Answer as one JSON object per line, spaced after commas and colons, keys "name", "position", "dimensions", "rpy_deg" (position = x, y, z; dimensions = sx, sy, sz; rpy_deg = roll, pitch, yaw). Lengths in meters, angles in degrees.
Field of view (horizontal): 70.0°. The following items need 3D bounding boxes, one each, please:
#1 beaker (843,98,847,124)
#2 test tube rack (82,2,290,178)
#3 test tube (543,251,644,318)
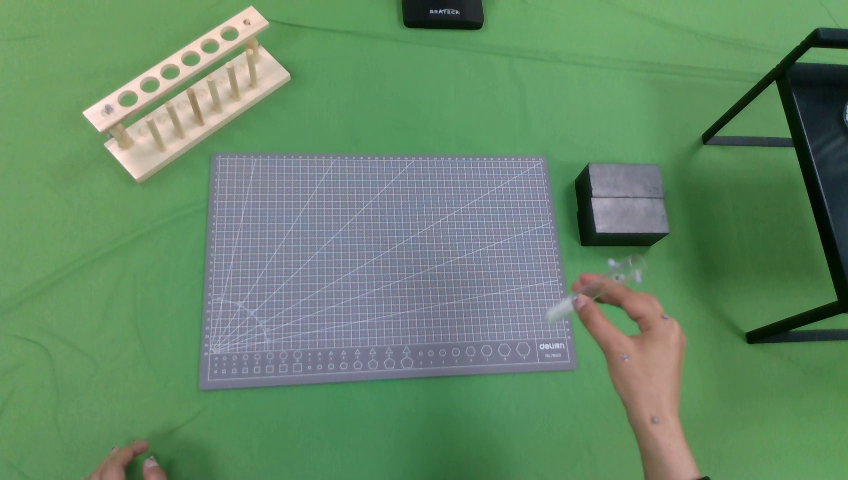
{"name": "beaker", "position": [0.536, -0.162, 0.681], "dimensions": [0.084, 0.100, 0.073], "rpy_deg": [-5, 71, -10]}
{"name": "test tube rack", "position": [-0.286, -0.189, 0.759], "dimensions": [0.242, 0.085, 0.066], "rpy_deg": [-42, 81, -19]}
{"name": "test tube", "position": [0.148, 0.044, 0.548], "dimensions": [0.017, 0.150, 0.017], "rpy_deg": [7, 65, -16]}
